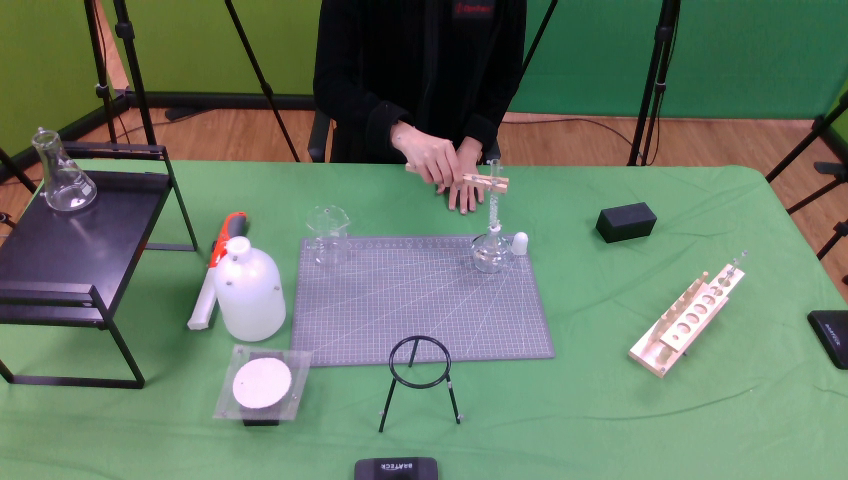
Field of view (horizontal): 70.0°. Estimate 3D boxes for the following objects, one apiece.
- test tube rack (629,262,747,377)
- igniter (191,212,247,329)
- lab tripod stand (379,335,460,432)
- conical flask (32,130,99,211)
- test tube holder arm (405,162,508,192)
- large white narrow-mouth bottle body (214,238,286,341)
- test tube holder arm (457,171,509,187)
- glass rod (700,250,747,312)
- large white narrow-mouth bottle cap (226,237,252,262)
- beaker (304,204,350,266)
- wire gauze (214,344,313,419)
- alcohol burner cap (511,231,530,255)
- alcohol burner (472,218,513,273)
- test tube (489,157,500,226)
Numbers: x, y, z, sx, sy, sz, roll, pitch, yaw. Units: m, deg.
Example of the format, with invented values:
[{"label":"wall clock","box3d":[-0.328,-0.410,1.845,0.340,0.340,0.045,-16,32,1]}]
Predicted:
[{"label":"test tube rack","box3d":[0.464,0.126,1.061,0.242,0.085,0.066,-34,56,-30]},{"label":"igniter","box3d":[-0.376,0.047,1.121,0.057,0.025,0.275,-4,46,6]},{"label":"lab tripod stand","box3d":[-0.010,0.214,0.912,0.148,0.132,0.147,1,45,0]},{"label":"conical flask","box3d":[-0.565,-0.110,0.944,0.075,0.122,0.075,2,46,-2]},{"label":"test tube holder arm","box3d":[0.052,-0.106,1.014,0.178,0.015,0.013,13,46,14]},{"label":"large white narrow-mouth bottle body","box3d":[-0.285,0.073,0.986,0.102,0.195,0.101,2,46,-2]},{"label":"test tube holder arm","box3d":[0.097,-0.102,1.008,0.088,0.015,0.010,7,45,8]},{"label":"glass rod","box3d":[0.500,0.075,1.021,0.008,0.201,0.008,0,54,0]},{"label":"large white narrow-mouth bottle cap","box3d":[-0.282,0.014,0.923,0.038,0.024,0.037,2,46,-2]},{"label":"beaker","box3d":[-0.178,-0.006,1.132,0.084,0.101,0.073,4,46,-1]},{"label":"wire gauze","box3d":[-0.241,0.213,0.916,0.121,0.011,0.124,5,46,1]},{"label":"alcohol burner cap","box3d":[0.191,0.003,1.187,0.034,0.048,0.033,3,44,-3]},{"label":"alcohol burner","box3d":[0.128,0.005,1.132,0.078,0.120,0.077,0,47,0]},{"label":"test tube","box3d":[0.119,-0.078,1.019,0.017,0.151,0.017,-2,47,3]}]
